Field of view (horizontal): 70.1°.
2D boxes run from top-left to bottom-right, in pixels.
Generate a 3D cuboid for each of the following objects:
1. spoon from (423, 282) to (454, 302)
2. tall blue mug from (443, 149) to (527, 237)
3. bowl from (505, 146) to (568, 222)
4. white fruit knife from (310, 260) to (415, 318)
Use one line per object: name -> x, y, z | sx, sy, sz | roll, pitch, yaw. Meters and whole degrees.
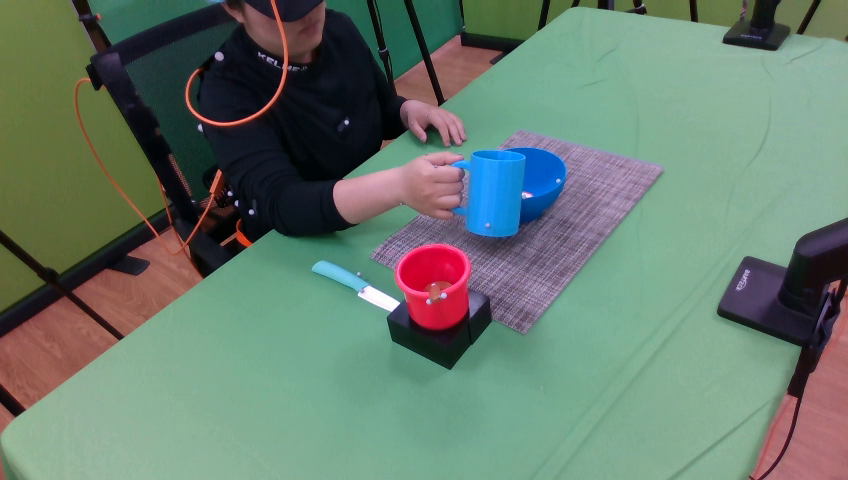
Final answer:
spoon -> 0.015, 0.062, 0.733 | 0.041, 0.021, 0.194 | -5, -4, 3
tall blue mug -> 0.084, -0.067, 0.841 | 0.107, 0.108, 0.077 | 1, 20, -7
bowl -> 0.161, -0.083, 1.001 | 0.151, 0.077, 0.150 | -5, 40, 5
white fruit knife -> -0.094, 0.074, 0.920 | 0.206, 0.016, 0.027 | 24, 76, 30
